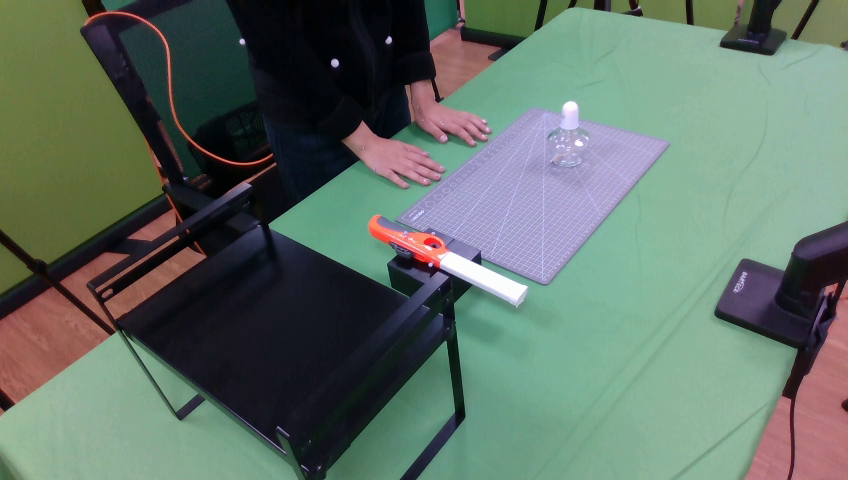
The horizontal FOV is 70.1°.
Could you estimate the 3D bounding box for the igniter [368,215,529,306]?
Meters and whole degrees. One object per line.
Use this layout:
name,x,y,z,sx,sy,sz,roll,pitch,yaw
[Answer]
igniter,0.024,0.024,0.868,0.274,0.025,0.057,25,49,28

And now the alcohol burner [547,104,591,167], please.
alcohol burner,0.261,-0.192,1.087,0.078,0.119,0.077,-5,42,5

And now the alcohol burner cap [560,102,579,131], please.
alcohol burner cap,0.256,-0.219,1.064,0.034,0.048,0.033,-5,34,4
